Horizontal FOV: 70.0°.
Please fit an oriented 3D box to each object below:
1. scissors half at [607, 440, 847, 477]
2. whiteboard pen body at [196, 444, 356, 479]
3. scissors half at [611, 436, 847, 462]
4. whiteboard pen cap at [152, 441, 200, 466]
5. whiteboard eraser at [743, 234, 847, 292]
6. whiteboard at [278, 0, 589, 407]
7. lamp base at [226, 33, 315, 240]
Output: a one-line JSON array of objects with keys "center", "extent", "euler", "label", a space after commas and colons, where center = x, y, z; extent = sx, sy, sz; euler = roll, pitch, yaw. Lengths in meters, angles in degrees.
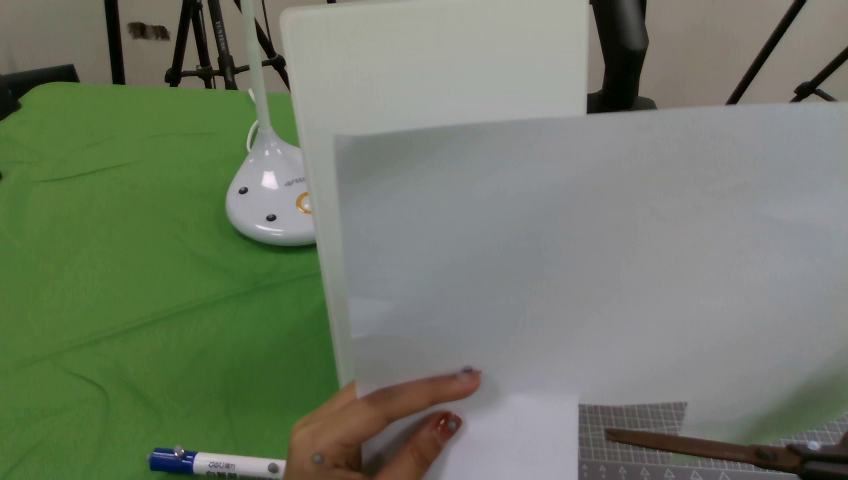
[{"center": [0.174, 0.102, 0.274], "extent": [0.174, 0.013, 0.040], "euler": [1, -2, 18], "label": "scissors half"}, {"center": [-0.120, 0.161, 0.440], "extent": [0.141, 0.017, 0.017], "euler": [6, 40, 2], "label": "whiteboard pen body"}, {"center": [0.177, 0.103, 0.296], "extent": [0.175, 0.040, 0.013], "euler": [3, 83, -5], "label": "scissors half"}, {"center": [-0.179, 0.156, 0.442], "extent": [0.033, 0.018, 0.018], "euler": [4, 40, 0], "label": "whiteboard pen cap"}, {"center": [0.383, 0.023, 0.601], "extent": [0.113, 0.042, 0.055], "euler": [-2, 42, -4], "label": "whiteboard eraser"}, {"center": [0.009, -0.047, 0.519], "extent": [0.218, 0.307, 0.142], "euler": [-10, 22, -12], "label": "whiteboard"}, {"center": [-0.151, -0.118, 0.650], "extent": [0.160, 0.182, 0.177], "euler": [-31, 47, -32], "label": "lamp base"}]
